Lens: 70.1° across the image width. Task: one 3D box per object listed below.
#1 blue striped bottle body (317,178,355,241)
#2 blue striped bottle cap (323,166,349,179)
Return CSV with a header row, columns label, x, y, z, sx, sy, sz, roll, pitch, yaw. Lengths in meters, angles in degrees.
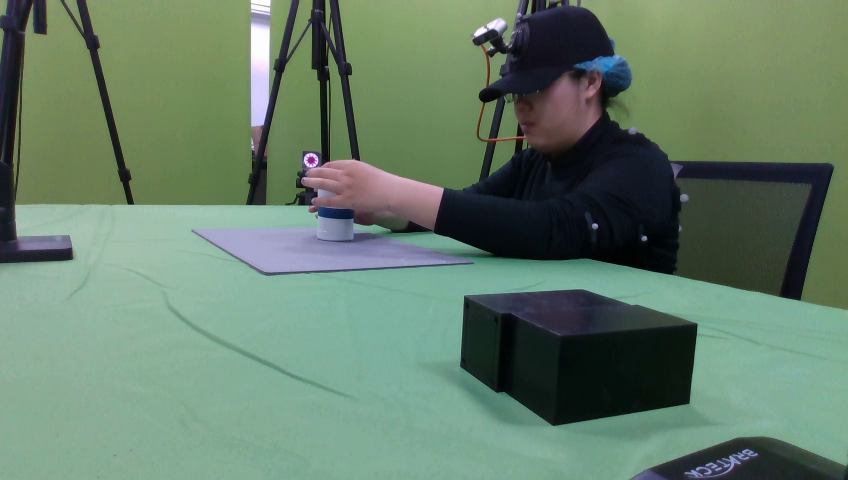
label,x,y,z,sx,sy,sz,roll,pitch,yaw
blue striped bottle body,-0.149,-0.061,1.024,0.063,0.120,0.063,3,7,0
blue striped bottle cap,-0.148,-0.113,1.018,0.044,0.020,0.044,5,8,0
